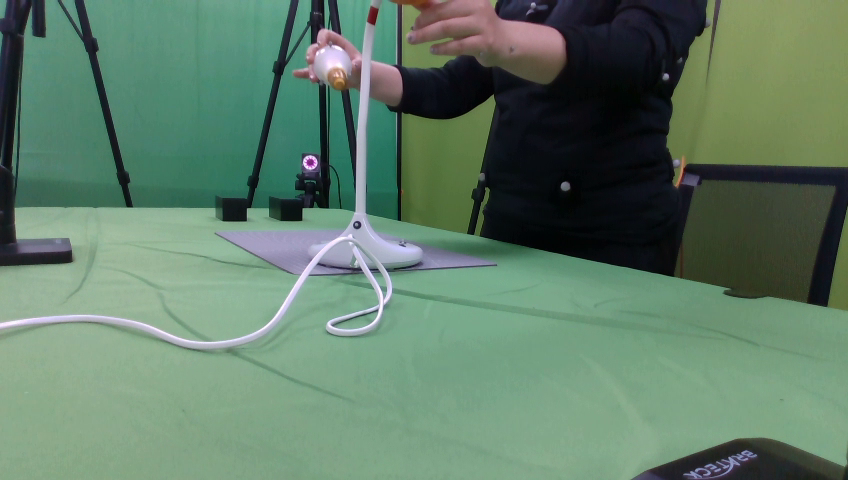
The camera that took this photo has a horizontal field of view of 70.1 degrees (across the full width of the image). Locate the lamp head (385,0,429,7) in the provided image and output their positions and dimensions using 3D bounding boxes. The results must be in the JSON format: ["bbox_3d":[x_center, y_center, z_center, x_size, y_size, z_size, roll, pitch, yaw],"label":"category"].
[{"bbox_3d":[-0.021,-0.324,0.669,0.112,0.123,0.112,4,3,0],"label":"lamp head"}]

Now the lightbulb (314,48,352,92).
[{"bbox_3d":[-0.138,-0.258,0.936,0.060,0.059,0.107,0,35,-20],"label":"lightbulb"}]

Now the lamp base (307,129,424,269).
[{"bbox_3d":[-0.077,-0.057,0.811,0.161,0.180,0.179,2,10,-4],"label":"lamp base"}]
